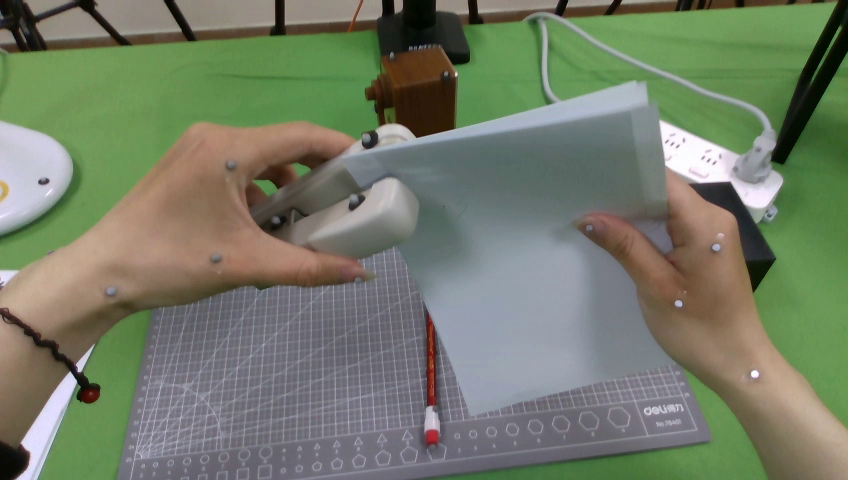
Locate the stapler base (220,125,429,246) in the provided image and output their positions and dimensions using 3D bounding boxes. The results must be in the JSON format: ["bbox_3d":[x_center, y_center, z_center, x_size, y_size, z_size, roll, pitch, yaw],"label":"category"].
[{"bbox_3d":[-0.057,-0.018,0.343,0.130,0.042,0.024,-26,42,22],"label":"stapler base"}]

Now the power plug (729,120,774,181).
[{"bbox_3d":[0.350,-0.086,0.634,0.072,0.053,0.035,-32,56,-25],"label":"power plug"}]

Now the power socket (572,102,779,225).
[{"bbox_3d":[0.275,-0.089,0.668,0.225,0.033,0.072,33,55,26],"label":"power socket"}]

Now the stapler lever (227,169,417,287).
[{"bbox_3d":[-0.057,0.000,0.328,0.118,0.027,0.039,-26,41,21],"label":"stapler lever"}]

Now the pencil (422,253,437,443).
[{"bbox_3d":[0.003,0.082,0.524,0.012,0.012,0.192,0,47,0],"label":"pencil"}]

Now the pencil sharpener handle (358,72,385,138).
[{"bbox_3d":[-0.059,-0.141,0.641,0.031,0.068,0.035,-14,28,-12],"label":"pencil sharpener handle"}]

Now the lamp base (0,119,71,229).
[{"bbox_3d":[-0.467,-0.122,0.586,0.161,0.182,0.177,-31,53,-25],"label":"lamp base"}]

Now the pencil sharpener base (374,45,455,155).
[{"bbox_3d":[-0.012,-0.148,0.666,0.077,0.108,0.060,-14,50,-12],"label":"pencil sharpener base"}]
